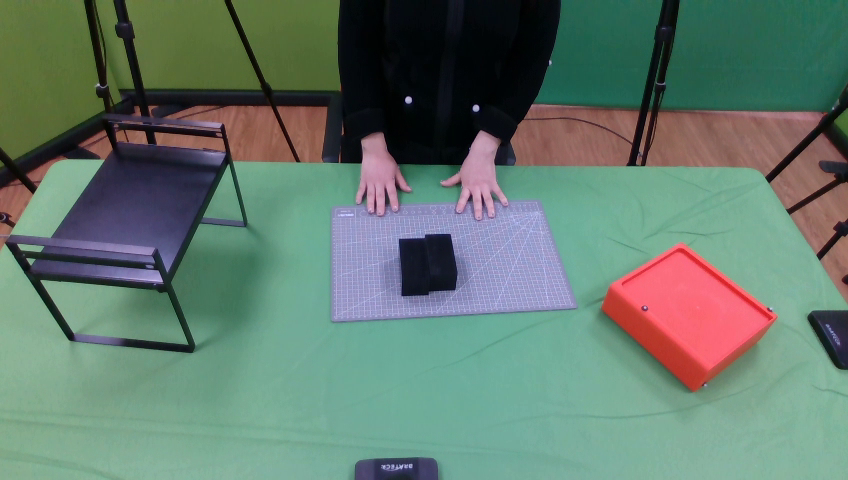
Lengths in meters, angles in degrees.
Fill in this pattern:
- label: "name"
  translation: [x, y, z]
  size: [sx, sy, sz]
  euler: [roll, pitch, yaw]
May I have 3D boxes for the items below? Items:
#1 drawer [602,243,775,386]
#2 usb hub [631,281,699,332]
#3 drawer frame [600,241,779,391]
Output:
- label: "drawer"
  translation: [0.460, 0.124, 1.067]
  size: [0.194, 0.073, 0.210]
  euler: [-24, 52, -26]
- label: "usb hub"
  translation: [0.434, 0.119, 1.091]
  size: [0.125, 0.025, 0.049]
  euler: [-24, 50, -26]
- label: "drawer frame"
  translation: [0.462, 0.124, 1.066]
  size: [0.202, 0.083, 0.212]
  euler: [-26, 54, -26]
